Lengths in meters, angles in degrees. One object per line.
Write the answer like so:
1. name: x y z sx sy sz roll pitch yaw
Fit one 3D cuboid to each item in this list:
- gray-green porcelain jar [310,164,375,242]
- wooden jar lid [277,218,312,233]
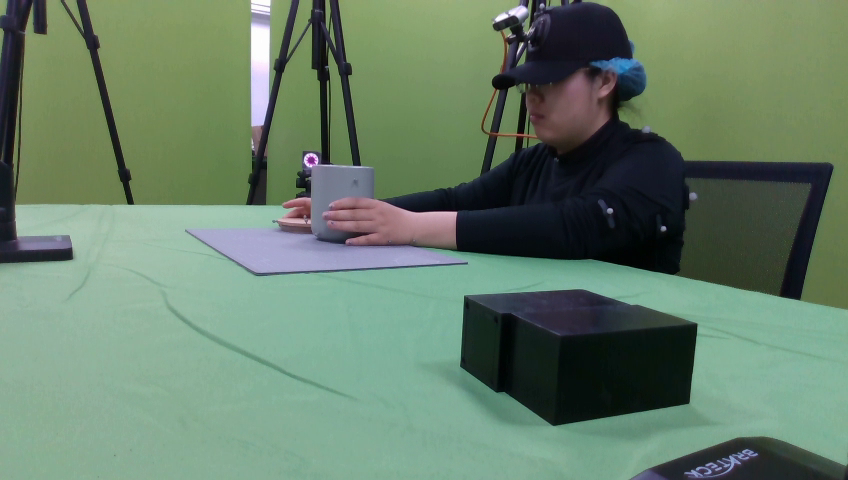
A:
1. gray-green porcelain jar: -0.139 -0.063 1.025 0.106 0.126 0.106 3 8 0
2. wooden jar lid: -0.221 -0.028 1.138 0.108 0.020 0.108 2 8 0
